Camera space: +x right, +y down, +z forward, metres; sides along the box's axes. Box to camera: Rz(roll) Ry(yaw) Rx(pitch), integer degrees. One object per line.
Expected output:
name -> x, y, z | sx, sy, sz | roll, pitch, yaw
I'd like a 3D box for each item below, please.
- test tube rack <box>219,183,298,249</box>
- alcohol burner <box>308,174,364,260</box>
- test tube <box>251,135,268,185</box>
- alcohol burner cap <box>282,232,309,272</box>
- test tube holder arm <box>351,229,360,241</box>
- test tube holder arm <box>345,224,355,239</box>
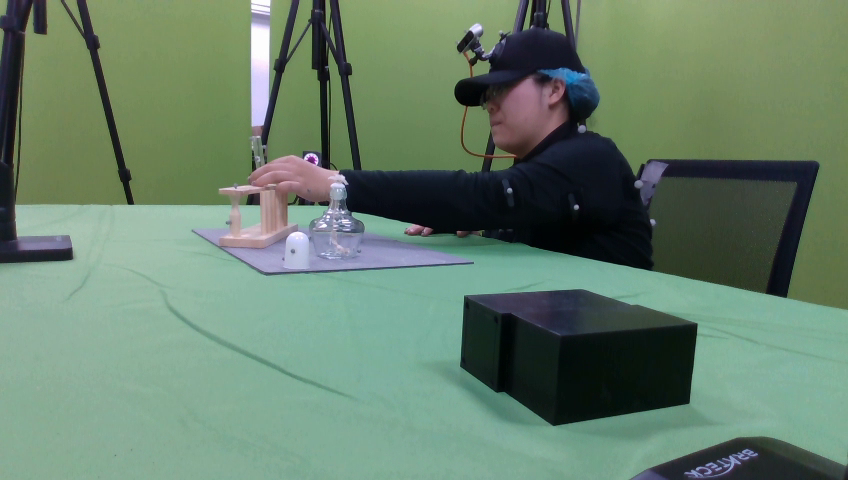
test tube rack -> -0.266, -0.046, 1.002 | 0.067, 0.085, 0.242 | 2, 7, 0
alcohol burner -> -0.121, -0.033, 0.841 | 0.078, 0.119, 0.078 | 3, 5, 0
test tube -> -0.285, -0.109, 1.066 | 0.017, 0.150, 0.017 | -5, 15, 2
alcohol burner cap -> -0.157, 0.014, 0.740 | 0.034, 0.048, 0.034 | 3, 6, 0
test tube holder arm -> -0.120, -0.009, 1.040 | 0.010, 0.015, 0.087 | 35, -1, -11
test tube holder arm -> -0.132, -0.017, 1.083 | 0.013, 0.015, 0.178 | 34, -1, -12
